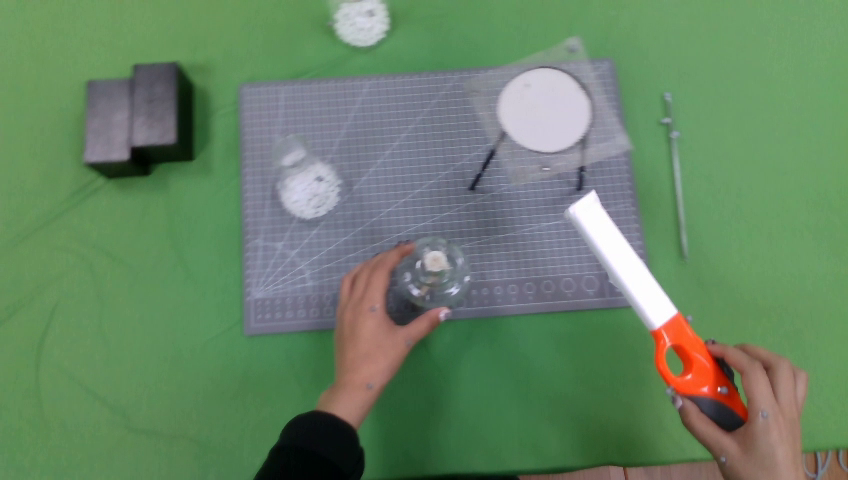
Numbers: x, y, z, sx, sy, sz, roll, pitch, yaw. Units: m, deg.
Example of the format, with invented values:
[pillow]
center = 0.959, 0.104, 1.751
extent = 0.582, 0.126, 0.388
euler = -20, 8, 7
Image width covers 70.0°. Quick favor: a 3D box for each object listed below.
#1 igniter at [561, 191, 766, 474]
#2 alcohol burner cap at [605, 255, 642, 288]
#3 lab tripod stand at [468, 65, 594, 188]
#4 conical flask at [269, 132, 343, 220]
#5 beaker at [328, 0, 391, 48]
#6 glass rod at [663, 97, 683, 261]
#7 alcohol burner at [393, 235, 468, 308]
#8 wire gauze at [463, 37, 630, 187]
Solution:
[igniter]
center = 0.210, 0.079, 0.529
extent = 0.057, 0.025, 0.276
euler = -33, 87, -14
[alcohol burner cap]
center = 0.219, 0.032, 0.655
extent = 0.034, 0.048, 0.033
euler = 0, 77, -1
[lab tripod stand]
center = 0.115, -0.109, 0.639
extent = 0.148, 0.132, 0.147
euler = 0, 79, 0
[conical flask]
center = -0.129, -0.071, 0.633
extent = 0.075, 0.122, 0.075
euler = 0, 77, 0
[beaker]
center = -0.073, -0.277, 0.696
extent = 0.074, 0.100, 0.084
euler = 44, 80, 9
[glass rod]
center = 0.287, -0.074, 0.700
extent = 0.008, 0.008, 0.198
euler = 1, 77, -1
[alcohol burner]
center = 0.007, 0.029, 0.617
extent = 0.078, 0.119, 0.077
euler = 1, 77, -2
[wire gauze]
center = 0.115, -0.121, 0.572
extent = 0.125, 0.011, 0.121
euler = -20, 78, -5
